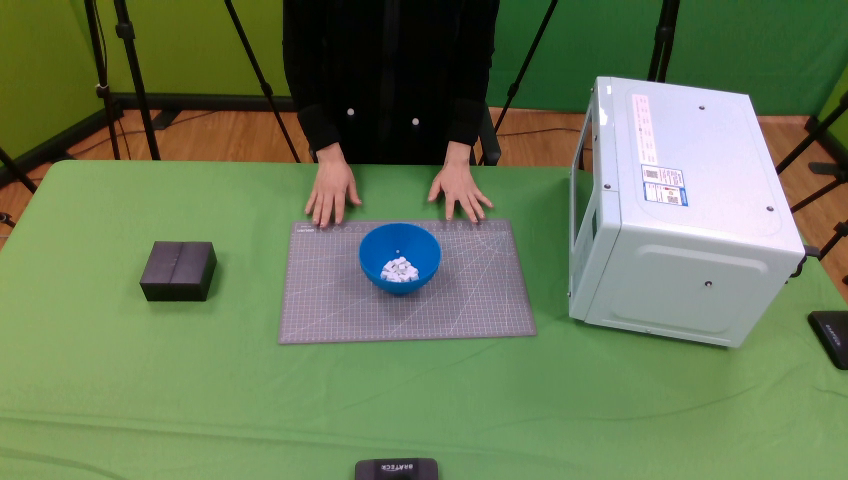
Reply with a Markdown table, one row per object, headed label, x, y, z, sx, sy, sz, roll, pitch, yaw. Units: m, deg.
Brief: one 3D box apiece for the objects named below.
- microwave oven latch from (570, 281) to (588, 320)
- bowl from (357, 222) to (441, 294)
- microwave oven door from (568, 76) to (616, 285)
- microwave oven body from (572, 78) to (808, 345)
| label | x | y | z | sx | sy | sz | roll | pitch | yaw |
| --- | --- | --- | --- | --- | --- | --- | --- | --- | --- |
| microwave oven latch | 0.275 | 0.105 | 1.082 | 0.030 | 0.029 | 0.079 | 9 | 45 | 6 |
| bowl | -0.047 | 0.046 | 1.107 | 0.151 | 0.077 | 0.150 | 2 | 46 | -2 |
| microwave oven door | 0.319 | -0.119 | 1.161 | 0.039 | 0.245 | 0.354 | 9 | 46 | 5 |
| microwave oven body | 0.456 | -0.063 | 1.124 | 0.326 | 0.261 | 0.439 | 8 | 45 | 5 |
